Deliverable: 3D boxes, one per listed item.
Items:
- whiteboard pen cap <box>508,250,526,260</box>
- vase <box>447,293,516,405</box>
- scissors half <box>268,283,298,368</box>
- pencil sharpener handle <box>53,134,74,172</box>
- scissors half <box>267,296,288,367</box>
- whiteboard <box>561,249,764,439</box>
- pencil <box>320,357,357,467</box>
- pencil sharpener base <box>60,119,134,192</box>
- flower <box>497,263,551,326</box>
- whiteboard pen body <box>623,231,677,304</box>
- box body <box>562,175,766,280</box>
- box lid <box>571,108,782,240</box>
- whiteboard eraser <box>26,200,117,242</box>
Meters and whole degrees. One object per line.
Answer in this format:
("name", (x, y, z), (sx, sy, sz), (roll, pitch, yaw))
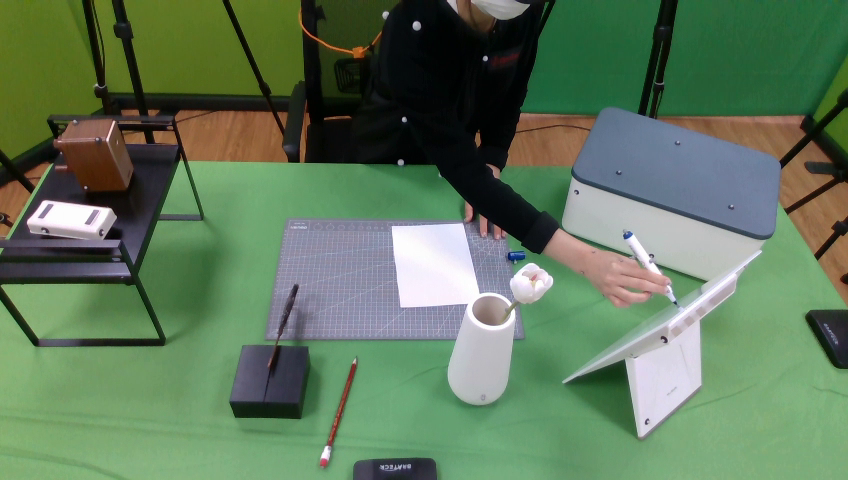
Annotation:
("whiteboard pen cap", (0.180, 0.029, 1.185), (0.033, 0.018, 0.018), (-4, 47, -14))
("vase", (0.091, 0.169, 0.921), (0.098, 0.201, 0.097), (3, 47, -3))
("scissors half", (-0.230, 0.135, 0.986), (0.013, 0.040, 0.174), (19, 43, -11))
("pencil sharpener handle", (-0.577, -0.138, 0.961), (0.031, 0.068, 0.036), (-4, 34, -7))
("scissors half", (-0.239, 0.150, 0.997), (0.013, 0.040, 0.174), (24, 24, -13))
("whiteboard", (0.386, 0.176, 0.905), (0.217, 0.306, 0.143), (-26, 72, -26))
("pencil", (-0.130, 0.261, 0.947), (0.012, 0.012, 0.193), (10, 45, 5))
("pencil sharpener base", (-0.528, -0.135, 0.979), (0.077, 0.107, 0.061), (-4, 47, -7))
("flower", (0.103, 0.121, 0.852), (0.044, 0.363, 0.038), (-2, 63, -9))
("whiteboard pen body", (0.345, 0.043, 0.920), (0.141, 0.017, 0.017), (52, 53, -10))
("box body", (0.486, -0.088, 1.222), (0.363, 0.161, 0.253), (20, 48, 15))
("box lid", (0.491, -0.139, 1.168), (0.370, 0.015, 0.262), (21, 49, 15))
("whiteboard eraser", (-0.532, -0.026, 0.919), (0.113, 0.042, 0.055), (7, 45, 3))
